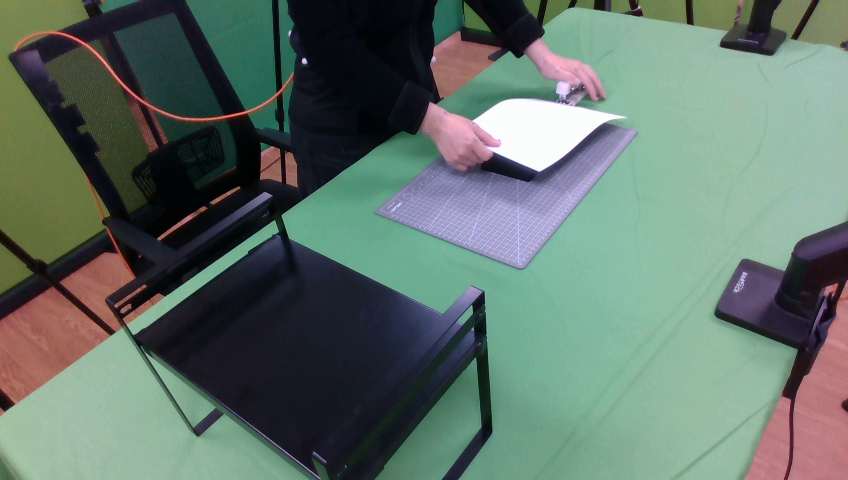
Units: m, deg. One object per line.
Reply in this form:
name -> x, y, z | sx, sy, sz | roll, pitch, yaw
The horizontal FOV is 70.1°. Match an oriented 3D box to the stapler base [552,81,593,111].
stapler base -> 0.319, -0.316, 1.296 | 0.041, 0.024, 0.131 | 24, 47, 27

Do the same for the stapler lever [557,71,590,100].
stapler lever -> 0.317, -0.335, 1.281 | 0.026, 0.040, 0.118 | 24, 48, 28
